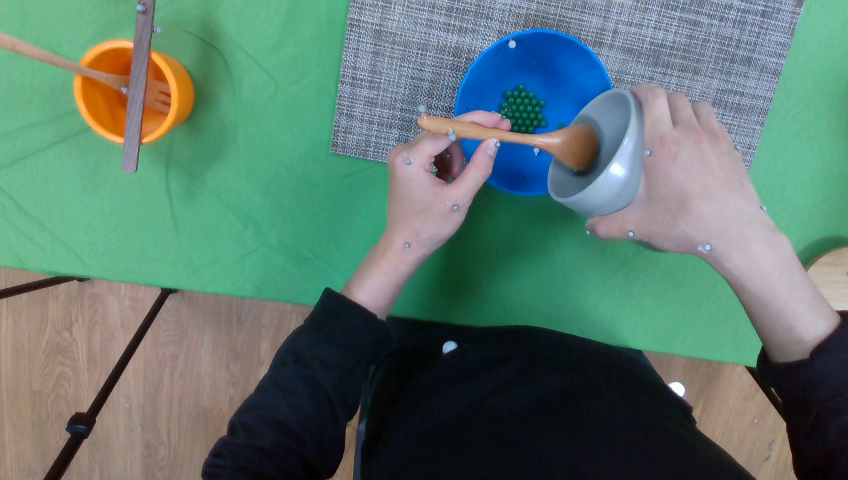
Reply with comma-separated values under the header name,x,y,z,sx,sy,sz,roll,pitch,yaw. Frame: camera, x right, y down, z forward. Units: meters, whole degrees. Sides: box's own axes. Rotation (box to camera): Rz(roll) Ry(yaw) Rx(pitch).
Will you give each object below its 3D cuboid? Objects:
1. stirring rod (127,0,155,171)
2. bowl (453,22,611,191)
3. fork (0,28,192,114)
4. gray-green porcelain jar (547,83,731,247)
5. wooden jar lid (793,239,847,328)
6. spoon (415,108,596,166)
name,x,y,z,sx,sy,sz,roll,pitch,yaw
stirring rod,-0.247,-0.147,0.530,0.014,0.006,0.177,11,106,-5
bowl,0.099,-0.129,0.592,0.151,0.076,0.152,-1,108,-3
fork,-0.301,-0.153,0.527,0.209,0.018,0.028,14,114,-52
gray-green porcelain jar,0.190,-0.059,0.529,0.127,0.105,0.106,25,104,-19
wooden jar lid,0.480,0.049,0.703,0.108,0.020,0.109,-1,107,-2
spoon,0.075,-0.089,0.502,0.195,0.021,0.042,2,102,-29
